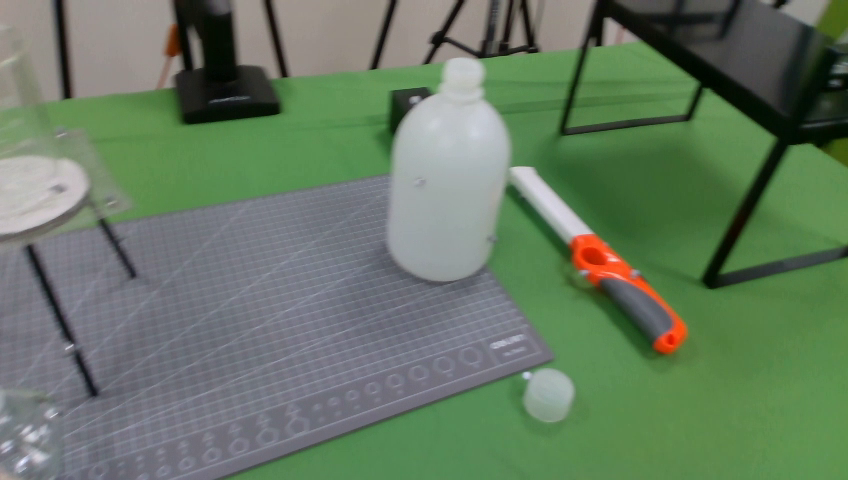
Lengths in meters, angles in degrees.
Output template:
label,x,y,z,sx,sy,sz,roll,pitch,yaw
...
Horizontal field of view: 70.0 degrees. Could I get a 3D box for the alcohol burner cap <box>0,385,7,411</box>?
label,x,y,z,sx,sy,sz,roll,pitch,yaw
alcohol burner cap,-0.255,0.079,0.331,0.034,0.048,0.033,5,46,-5

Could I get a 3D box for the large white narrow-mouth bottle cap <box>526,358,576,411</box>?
label,x,y,z,sx,sy,sz,roll,pitch,yaw
large white narrow-mouth bottle cap,0.100,0.113,0.474,0.038,0.024,0.037,4,41,-3

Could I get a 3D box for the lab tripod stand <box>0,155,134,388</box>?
label,x,y,z,sx,sy,sz,roll,pitch,yaw
lab tripod stand,-0.275,0.019,0.439,0.148,0.132,0.147,6,40,-4

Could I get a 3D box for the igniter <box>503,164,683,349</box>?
label,x,y,z,sx,sy,sz,roll,pitch,yaw
igniter,0.160,0.004,0.604,0.057,0.025,0.273,-4,40,-29

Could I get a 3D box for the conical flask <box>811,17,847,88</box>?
label,x,y,z,sx,sy,sz,roll,pitch,yaw
conical flask,0.398,-0.195,0.519,0.075,0.123,0.074,4,41,-3

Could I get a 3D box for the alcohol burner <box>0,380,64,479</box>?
label,x,y,z,sx,sy,sz,roll,pitch,yaw
alcohol burner,-0.259,0.106,0.355,0.078,0.120,0.077,5,39,-4

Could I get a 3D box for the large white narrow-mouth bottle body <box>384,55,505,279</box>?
label,x,y,z,sx,sy,sz,roll,pitch,yaw
large white narrow-mouth bottle body,0.018,-0.064,0.530,0.102,0.196,0.101,3,41,-3

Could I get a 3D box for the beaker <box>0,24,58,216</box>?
label,x,y,z,sx,sy,sz,roll,pitch,yaw
beaker,-0.275,-0.070,0.365,0.084,0.101,0.073,-19,48,-27

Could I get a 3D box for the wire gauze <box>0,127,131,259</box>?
label,x,y,z,sx,sy,sz,roll,pitch,yaw
wire gauze,-0.274,-0.031,0.397,0.121,0.011,0.124,-26,54,-30
